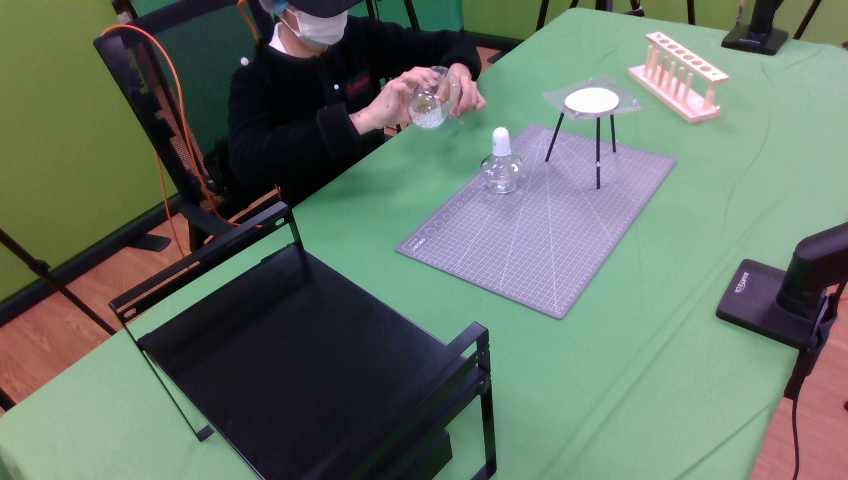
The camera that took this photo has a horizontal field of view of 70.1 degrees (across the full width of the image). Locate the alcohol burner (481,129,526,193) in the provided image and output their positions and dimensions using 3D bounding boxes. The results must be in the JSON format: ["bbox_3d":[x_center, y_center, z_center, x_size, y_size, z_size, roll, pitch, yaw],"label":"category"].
[{"bbox_3d":[0.138,-0.142,1.052,0.078,0.119,0.077,-5,42,5],"label":"alcohol burner"}]

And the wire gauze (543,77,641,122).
[{"bbox_3d":[0.282,-0.236,1.020,0.125,0.011,0.120,-15,40,-6],"label":"wire gauze"}]

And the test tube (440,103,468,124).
[{"bbox_3d":[0.060,-0.243,1.169,0.017,0.017,0.151,8,4,19],"label":"test tube"}]

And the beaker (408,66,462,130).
[{"bbox_3d":[0.018,-0.241,1.042,0.073,0.084,0.100,4,41,18],"label":"beaker"}]

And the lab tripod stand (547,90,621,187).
[{"bbox_3d":[0.289,-0.184,1.062,0.148,0.132,0.147,-6,41,6],"label":"lab tripod stand"}]

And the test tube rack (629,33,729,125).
[{"bbox_3d":[0.516,-0.337,1.247,0.067,0.085,0.240,-14,41,-7],"label":"test tube rack"}]

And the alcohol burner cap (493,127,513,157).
[{"bbox_3d":[0.132,-0.169,1.030,0.034,0.048,0.033,-7,36,5],"label":"alcohol burner cap"}]
